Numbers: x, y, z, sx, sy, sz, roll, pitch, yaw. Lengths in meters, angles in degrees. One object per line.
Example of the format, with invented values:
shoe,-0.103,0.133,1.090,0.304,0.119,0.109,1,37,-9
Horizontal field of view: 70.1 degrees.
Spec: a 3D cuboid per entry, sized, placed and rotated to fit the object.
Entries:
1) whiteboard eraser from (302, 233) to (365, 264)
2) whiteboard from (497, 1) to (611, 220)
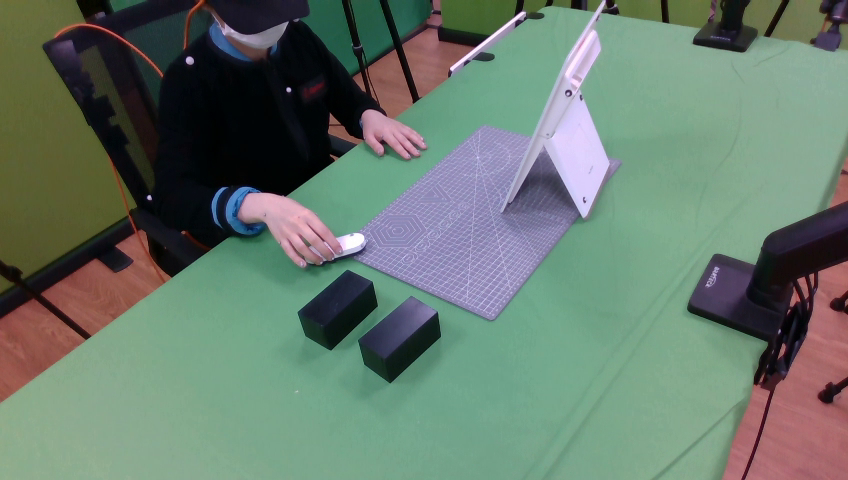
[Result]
whiteboard eraser,-0.145,0.013,0.970,0.101,0.019,0.041,-15,34,-4
whiteboard,0.259,-0.177,0.963,0.143,0.306,0.217,28,48,9
